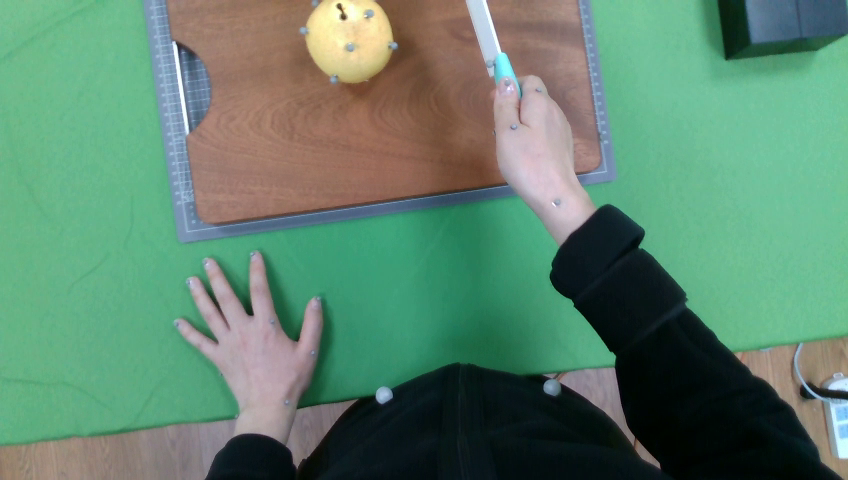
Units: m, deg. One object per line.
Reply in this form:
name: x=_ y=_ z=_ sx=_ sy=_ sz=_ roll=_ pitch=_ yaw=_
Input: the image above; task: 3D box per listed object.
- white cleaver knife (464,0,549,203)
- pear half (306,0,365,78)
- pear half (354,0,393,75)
white cleaver knife: x=0.056 y=-0.168 z=0.510 sx=0.021 sy=0.065 sz=0.287 roll=-18 pitch=102 yaw=-3
pear half: x=-0.079 y=-0.188 z=0.538 sx=0.056 sy=0.110 sz=0.076 roll=-5 pitch=84 yaw=-1
pear half: x=-0.044 y=-0.190 z=0.549 sx=0.031 sy=0.088 sz=0.070 roll=-5 pitch=84 yaw=-2
